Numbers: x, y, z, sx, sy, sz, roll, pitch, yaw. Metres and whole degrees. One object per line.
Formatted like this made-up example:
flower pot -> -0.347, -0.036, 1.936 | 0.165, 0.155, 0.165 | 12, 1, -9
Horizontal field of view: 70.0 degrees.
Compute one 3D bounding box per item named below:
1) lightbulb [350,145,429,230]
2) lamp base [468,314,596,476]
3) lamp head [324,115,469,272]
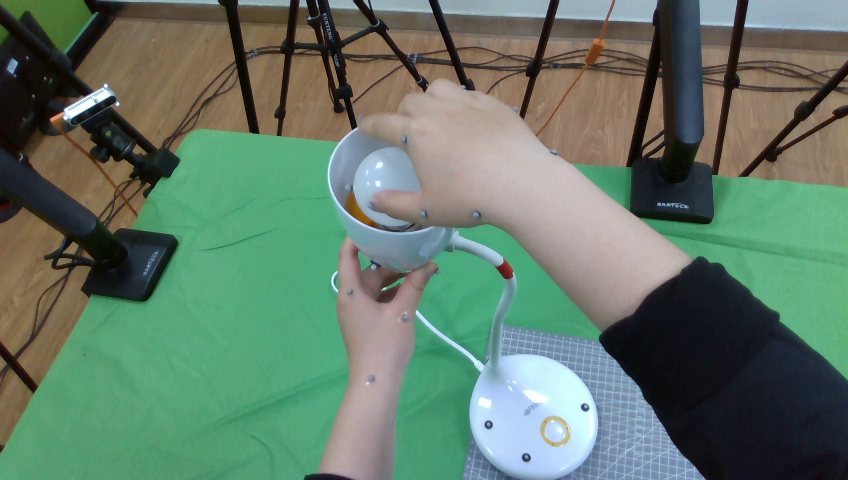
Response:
lightbulb -> -0.025, -0.033, 0.481 | 0.059, 0.108, 0.059 | -1, 68, 2
lamp base -> 0.118, 0.167, 0.710 | 0.177, 0.182, 0.160 | 31, 64, 28
lamp head -> -0.017, -0.025, 0.507 | 0.112, 0.124, 0.111 | -2, 59, 4
